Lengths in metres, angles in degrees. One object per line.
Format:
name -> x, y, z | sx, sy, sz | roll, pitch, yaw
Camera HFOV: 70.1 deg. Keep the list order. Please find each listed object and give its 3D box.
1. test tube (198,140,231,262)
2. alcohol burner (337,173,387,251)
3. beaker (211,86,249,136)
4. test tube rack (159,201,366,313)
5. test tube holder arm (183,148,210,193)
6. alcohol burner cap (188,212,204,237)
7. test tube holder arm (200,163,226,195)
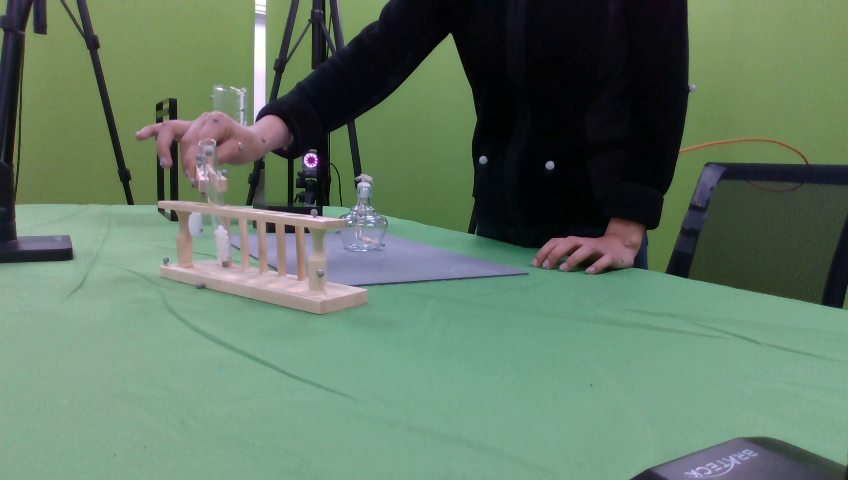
test tube -> -0.216, -0.036, 0.627 | 0.017, 0.150, 0.017 | 4, 39, -3
alcohol burner -> -0.095, -0.043, 0.926 | 0.078, 0.119, 0.078 | 3, 6, 0
beaker -> -0.413, -0.274, 1.297 | 0.074, 0.100, 0.083 | -5, 11, -44
test tube rack -> -0.173, 0.009, 0.624 | 0.241, 0.085, 0.067 | 7, 9, 34
test tube holder arm -> -0.261, -0.083, 0.691 | 0.013, 0.015, 0.177 | 9, 14, -31
alcohol burner cap -> -0.390, -0.029, 1.025 | 0.034, 0.048, 0.034 | 2, 8, 0
test tube holder arm -> -0.234, -0.067, 0.659 | 0.010, 0.015, 0.087 | 6, 16, -39
